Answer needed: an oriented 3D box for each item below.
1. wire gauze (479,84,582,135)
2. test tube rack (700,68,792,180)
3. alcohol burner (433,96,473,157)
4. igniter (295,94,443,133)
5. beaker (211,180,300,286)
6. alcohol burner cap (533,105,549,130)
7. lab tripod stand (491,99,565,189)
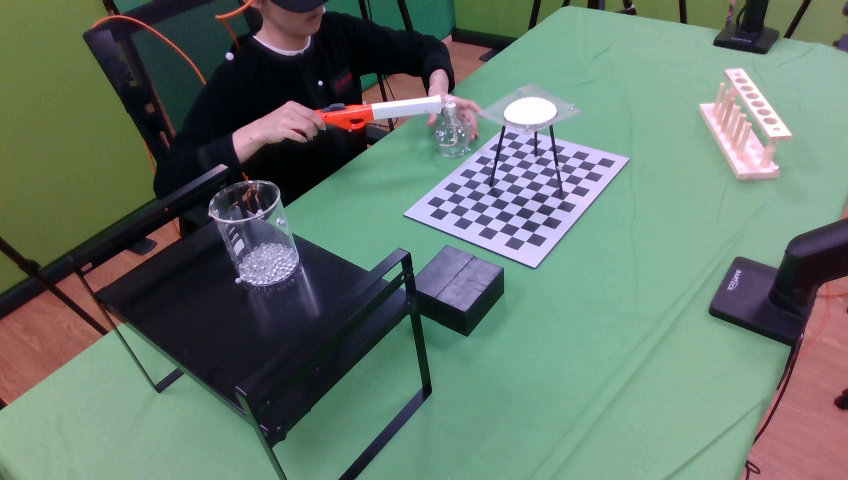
[{"bbox_3d":[0.176,-0.216,1.006,0.125,0.011,0.120,-29,46,-22],"label":"wire gauze"},{"bbox_3d":[0.571,-0.215,1.089,0.066,0.085,0.241,-3,41,7],"label":"test tube rack"},{"bbox_3d":[0.055,-0.220,1.153,0.078,0.119,0.077,-3,39,3],"label":"alcohol burner"},{"bbox_3d":[-0.103,-0.233,1.116,0.277,0.057,0.025,-9,49,-1],"label":"igniter"},{"bbox_3d":[-0.183,-0.007,0.674,0.074,0.101,0.083,-1,40,7],"label":"beaker"},{"bbox_3d":[0.235,-0.251,1.217,0.034,0.048,0.033,-5,41,5],"label":"alcohol burner cap"},{"bbox_3d":[0.184,-0.163,1.046,0.148,0.132,0.147,-5,43,5],"label":"lab tripod stand"}]
